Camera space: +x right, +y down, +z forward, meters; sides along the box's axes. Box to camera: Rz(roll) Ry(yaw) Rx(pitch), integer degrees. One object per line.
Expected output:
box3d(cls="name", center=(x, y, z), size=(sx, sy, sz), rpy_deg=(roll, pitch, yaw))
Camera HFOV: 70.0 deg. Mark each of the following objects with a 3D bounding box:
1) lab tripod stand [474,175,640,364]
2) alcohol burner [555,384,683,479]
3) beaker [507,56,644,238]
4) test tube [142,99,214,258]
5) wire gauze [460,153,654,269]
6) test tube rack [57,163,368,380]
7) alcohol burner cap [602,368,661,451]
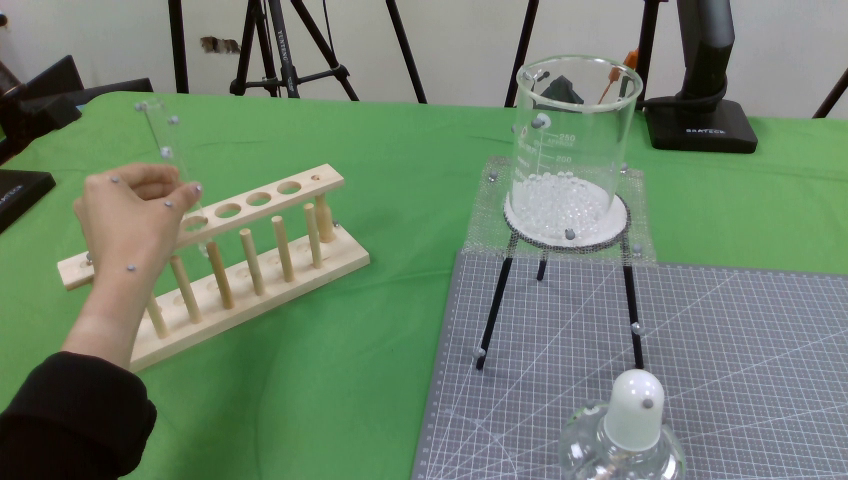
box3d(cls="lab tripod stand", center=(0.106, 0.028, 0.470), size=(0.148, 0.132, 0.147), rpy_deg=(0, 38, 1))
box3d(cls="alcohol burner", center=(0.121, 0.122, 0.369), size=(0.078, 0.120, 0.077), rpy_deg=(-1, 41, 1))
box3d(cls="beaker", center=(0.090, -0.059, 0.396), size=(0.074, 0.101, 0.083), rpy_deg=(-28, 46, -30))
box3d(cls="test tube", center=(-0.197, -0.044, 0.496), size=(0.017, 0.151, 0.017), rpy_deg=(-2, 40, 2))
box3d(cls="wire gauze", center=(0.095, -0.023, 0.428), size=(0.121, 0.011, 0.124), rpy_deg=(6, 42, 10))
box3d(cls="test tube rack", center=(-0.174, 0.020, 0.540), size=(0.243, 0.086, 0.066), rpy_deg=(-25, 44, -25))
box3d(cls="alcohol burner cap", center=(0.120, 0.094, 0.346), size=(0.034, 0.048, 0.033), rpy_deg=(-4, 38, 3))
